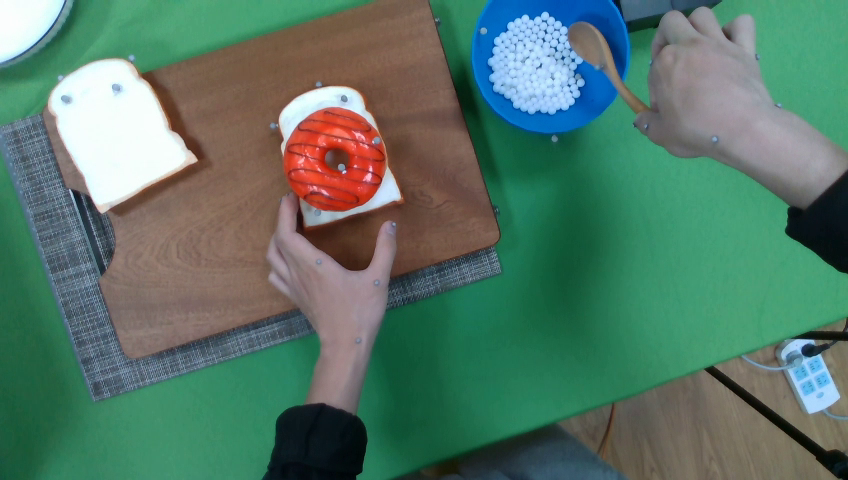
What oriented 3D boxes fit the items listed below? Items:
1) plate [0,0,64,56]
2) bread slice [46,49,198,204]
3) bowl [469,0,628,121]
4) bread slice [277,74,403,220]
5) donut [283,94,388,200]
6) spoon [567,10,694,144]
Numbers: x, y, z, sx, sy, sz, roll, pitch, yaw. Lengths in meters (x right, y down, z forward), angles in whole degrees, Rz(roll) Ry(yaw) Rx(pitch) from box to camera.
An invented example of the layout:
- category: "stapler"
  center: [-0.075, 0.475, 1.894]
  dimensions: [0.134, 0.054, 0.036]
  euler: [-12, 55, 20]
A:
- category: "plate"
  center: [-0.448, -0.279, 0.595]
  dimensions: [0.208, 0.039, 0.207]
  euler: [0, 94, -2]
- category: "bread slice"
  center: [-0.300, -0.114, 0.589]
  dimensions: [0.107, 0.018, 0.134]
  euler: [-32, 93, -1]
- category: "bowl"
  center: [0.115, -0.188, 0.601]
  dimensions: [0.151, 0.076, 0.151]
  euler: [0, 93, -2]
- category: "bread slice"
  center: [-0.090, -0.095, 0.600]
  dimensions: [0.105, 0.019, 0.131]
  euler: [-19, 96, -2]
- category: "donut"
  center: [-0.084, -0.087, 0.571]
  dimensions: [0.099, 0.048, 0.099]
  euler: [0, 94, -3]
- category: "spoon"
  center: [0.178, -0.145, 0.537]
  dimensions: [0.021, 0.042, 0.191]
  euler: [-16, 53, -7]
